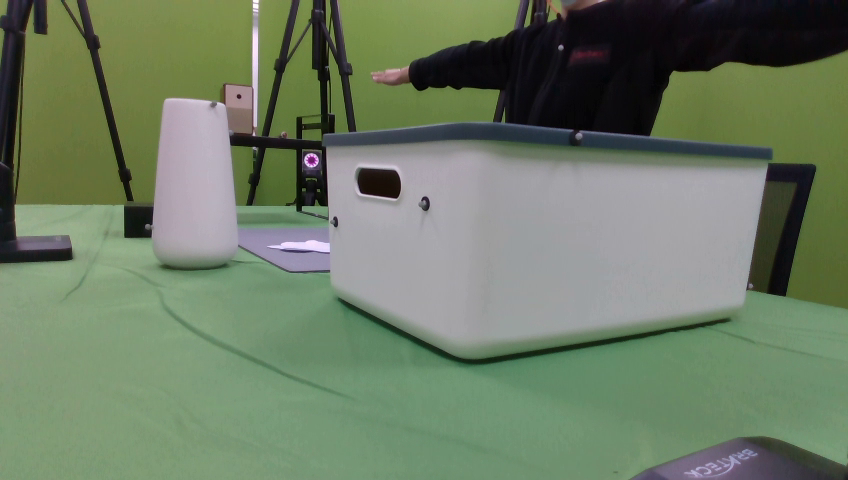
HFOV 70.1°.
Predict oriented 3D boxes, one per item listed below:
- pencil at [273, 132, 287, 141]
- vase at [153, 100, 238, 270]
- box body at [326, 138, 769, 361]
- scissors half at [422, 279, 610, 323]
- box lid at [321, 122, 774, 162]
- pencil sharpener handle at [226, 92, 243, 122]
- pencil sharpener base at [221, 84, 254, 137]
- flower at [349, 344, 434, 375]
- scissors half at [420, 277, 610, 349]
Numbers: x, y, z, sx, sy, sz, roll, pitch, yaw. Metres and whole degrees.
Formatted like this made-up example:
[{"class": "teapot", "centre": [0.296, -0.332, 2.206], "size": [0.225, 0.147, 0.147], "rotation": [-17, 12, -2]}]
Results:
[{"class": "pencil", "centre": [-0.333, -0.236, 1.391], "size": [0.012, 0.012, 0.193], "rotation": [0, 6, -21]}, {"class": "vase", "centre": [-0.278, -0.066, 0.736], "size": [0.098, 0.200, 0.098], "rotation": [2, 9, 0]}, {"class": "box body", "centre": [0.112, -0.010, 0.583], "size": [0.366, 0.160, 0.253], "rotation": [-2, 9, -33]}, {"class": "scissors half", "centre": [0.073, 0.057, 0.524], "size": [0.174, 0.040, 0.013], "rotation": [5, 39, 30]}, {"class": "box lid", "centre": [0.114, -0.085, 0.573], "size": [0.373, 0.015, 0.262], "rotation": [-2, 7, -33]}, {"class": "pencil sharpener handle", "centre": [-0.431, -0.301, 1.375], "size": [0.036, 0.068, 0.030], "rotation": [-14, 13, -24]}, {"class": "pencil sharpener base", "centre": [-0.411, -0.282, 1.330], "size": [0.061, 0.107, 0.076], "rotation": [-1, 8, -26]}, {"class": "flower", "centre": [0.103, 0.072, 0.592], "size": [0.362, 0.044, 0.038], "rotation": [-17, 44, -9]}, {"class": "scissors half", "centre": [0.076, 0.067, 0.533], "size": [0.174, 0.040, 0.013], "rotation": [14, 50, 24]}]
